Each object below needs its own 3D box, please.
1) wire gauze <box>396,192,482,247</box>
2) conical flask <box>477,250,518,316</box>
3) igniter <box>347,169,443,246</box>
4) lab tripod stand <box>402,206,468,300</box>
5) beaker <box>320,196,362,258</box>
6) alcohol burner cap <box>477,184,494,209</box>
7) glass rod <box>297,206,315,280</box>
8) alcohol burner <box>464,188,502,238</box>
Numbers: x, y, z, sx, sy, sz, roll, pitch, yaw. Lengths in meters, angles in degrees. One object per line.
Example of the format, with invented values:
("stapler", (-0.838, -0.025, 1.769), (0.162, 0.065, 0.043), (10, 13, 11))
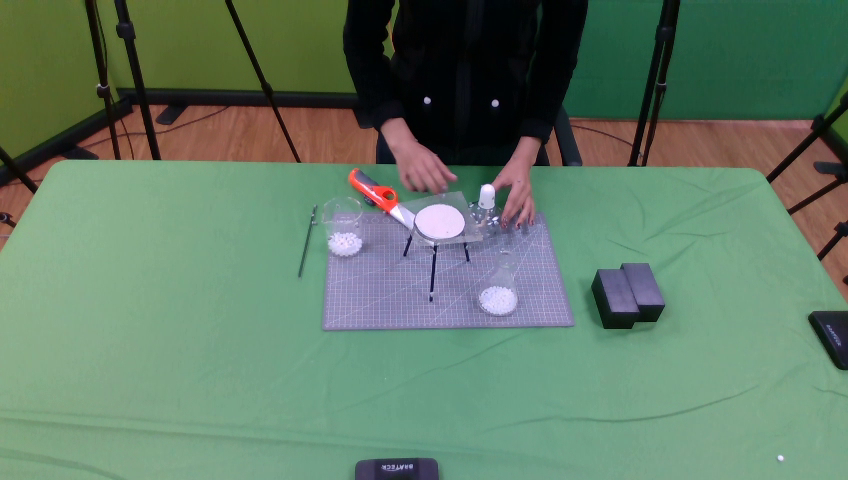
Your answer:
("wire gauze", (0.025, -0.036, 1.061), (0.125, 0.011, 0.120), (-9, 47, -14))
("conical flask", (0.136, 0.072, 1.067), (0.075, 0.122, 0.075), (2, 46, -2))
("igniter", (-0.068, -0.071, 1.258), (0.275, 0.025, 0.057), (37, 71, 28))
("lab tripod stand", (0.023, 0.013, 1.108), (0.148, 0.132, 0.147), (3, 44, -2))
("beaker", (-0.156, -0.021, 1.150), (0.084, 0.101, 0.073), (-30, 55, -28))
("alcohol burner cap", (0.121, -0.086, 1.175), (0.034, 0.048, 0.033), (0, 42, 0))
("glass rod", (-0.231, 0.000, 1.191), (0.008, 0.008, 0.198), (2, 46, -1))
("alcohol burner", (0.120, -0.061, 1.202), (0.078, 0.119, 0.077), (3, 47, -3))
